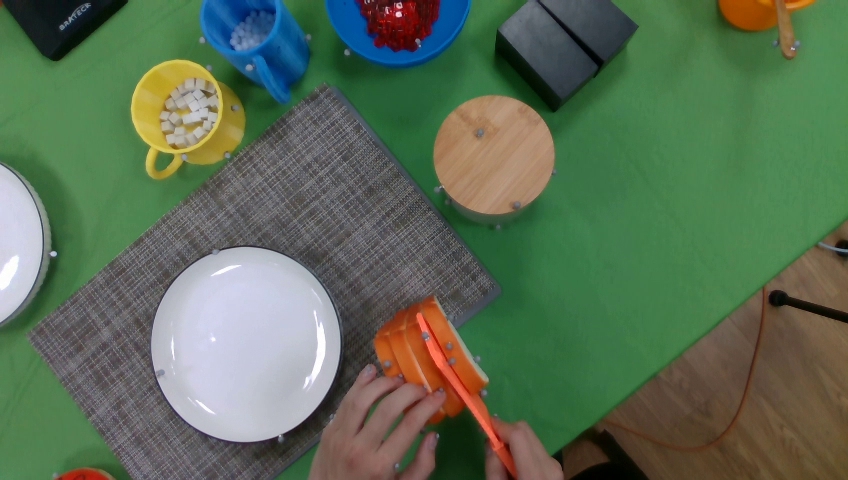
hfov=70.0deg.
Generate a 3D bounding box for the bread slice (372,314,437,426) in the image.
[{"bbox_3d":[-0.019,0.126,0.603,0.018,0.134,0.107,-28,86,3],"label":"bread slice"}]

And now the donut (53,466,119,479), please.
[{"bbox_3d":[-0.371,0.297,0.661,0.099,0.048,0.099,0,86,2],"label":"donut"}]

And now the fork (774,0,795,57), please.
[{"bbox_3d":[0.337,-0.230,0.583,0.028,0.019,0.206,23,45,-2],"label":"fork"}]

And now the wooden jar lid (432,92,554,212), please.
[{"bbox_3d":[0.062,-0.078,0.545,0.108,0.021,0.108,0,87,2],"label":"wooden jar lid"}]

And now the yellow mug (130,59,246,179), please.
[{"bbox_3d":[-0.263,-0.125,0.662,0.100,0.064,0.131,29,91,6],"label":"yellow mug"}]

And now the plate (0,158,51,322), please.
[{"bbox_3d":[-0.519,0.002,0.688,0.207,0.039,0.207,0,88,4],"label":"plate"}]

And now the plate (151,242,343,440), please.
[{"bbox_3d":[-0.188,0.107,0.656,0.209,0.038,0.209,0,87,4],"label":"plate"}]

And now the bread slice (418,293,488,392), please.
[{"bbox_3d":[0.030,0.100,0.598,0.019,0.131,0.105,-33,87,0],"label":"bread slice"}]

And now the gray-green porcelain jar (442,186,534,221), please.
[{"bbox_3d":[0.067,-0.074,0.607,0.106,0.127,0.105,0,87,4],"label":"gray-green porcelain jar"}]

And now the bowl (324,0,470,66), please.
[{"bbox_3d":[-0.024,-0.250,0.645,0.151,0.077,0.151,0,88,4],"label":"bowl"}]

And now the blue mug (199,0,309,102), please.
[{"bbox_3d":[-0.170,-0.202,0.639,0.082,0.106,0.116,-19,86,3],"label":"blue mug"}]

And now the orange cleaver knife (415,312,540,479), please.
[{"bbox_3d":[0.052,0.154,0.569,0.012,0.076,0.213,-34,110,2],"label":"orange cleaver knife"}]
